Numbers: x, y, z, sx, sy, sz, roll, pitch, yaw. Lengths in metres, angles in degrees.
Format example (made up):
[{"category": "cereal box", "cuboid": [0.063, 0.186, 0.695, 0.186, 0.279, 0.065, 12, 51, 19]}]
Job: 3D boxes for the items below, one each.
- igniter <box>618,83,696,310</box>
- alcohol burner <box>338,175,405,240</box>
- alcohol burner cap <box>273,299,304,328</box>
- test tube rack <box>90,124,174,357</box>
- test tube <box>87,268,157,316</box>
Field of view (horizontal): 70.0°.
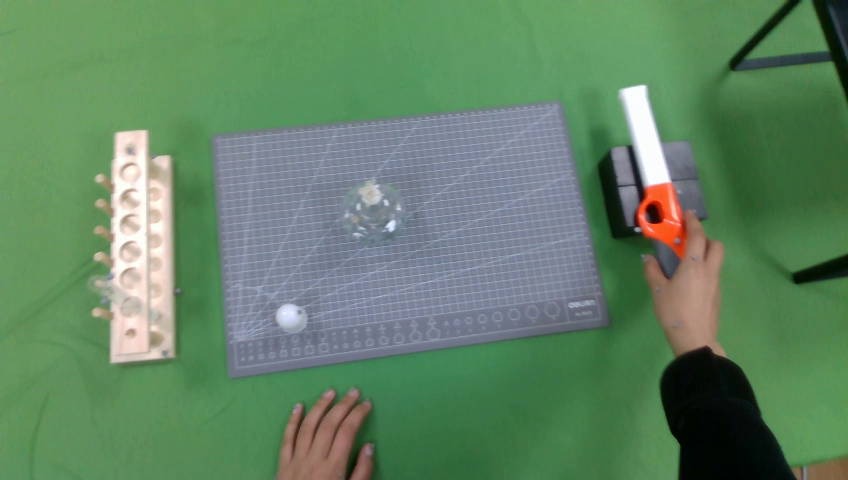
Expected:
[{"category": "igniter", "cuboid": [0.273, -0.056, 0.713, 0.057, 0.025, 0.275, -9, 76, 5]}, {"category": "alcohol burner", "cuboid": [-0.060, -0.041, 0.684, 0.078, 0.119, 0.077, 1, 77, -3]}, {"category": "alcohol burner cap", "cuboid": [-0.155, 0.081, 0.683, 0.034, 0.048, 0.033, 1, 76, -5]}, {"category": "test tube rack", "cuboid": [-0.325, 0.002, 0.670, 0.067, 0.085, 0.241, -5, 77, -5]}, {"category": "test tube", "cuboid": [-0.299, 0.055, 0.608, 0.017, 0.151, 0.017, 2, 71, -5]}]
